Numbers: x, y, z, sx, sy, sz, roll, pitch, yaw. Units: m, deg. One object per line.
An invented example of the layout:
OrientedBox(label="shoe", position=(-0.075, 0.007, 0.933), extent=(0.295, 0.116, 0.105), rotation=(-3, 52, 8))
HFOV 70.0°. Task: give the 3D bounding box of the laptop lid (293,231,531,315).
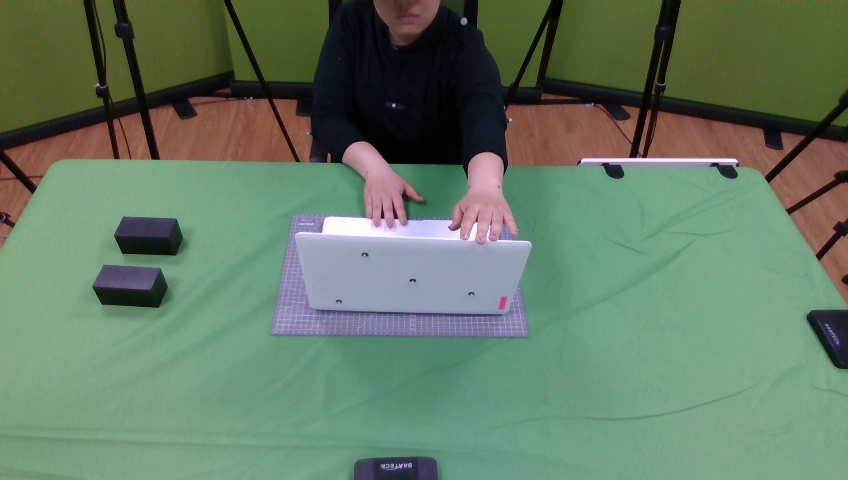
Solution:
OrientedBox(label="laptop lid", position=(-0.021, 0.061, 0.974), extent=(0.357, 0.243, 0.013), rotation=(3, 55, -4))

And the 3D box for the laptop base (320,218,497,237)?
OrientedBox(label="laptop base", position=(-0.028, 0.045, 1.154), extent=(0.354, 0.023, 0.234), rotation=(2, 42, -3))
